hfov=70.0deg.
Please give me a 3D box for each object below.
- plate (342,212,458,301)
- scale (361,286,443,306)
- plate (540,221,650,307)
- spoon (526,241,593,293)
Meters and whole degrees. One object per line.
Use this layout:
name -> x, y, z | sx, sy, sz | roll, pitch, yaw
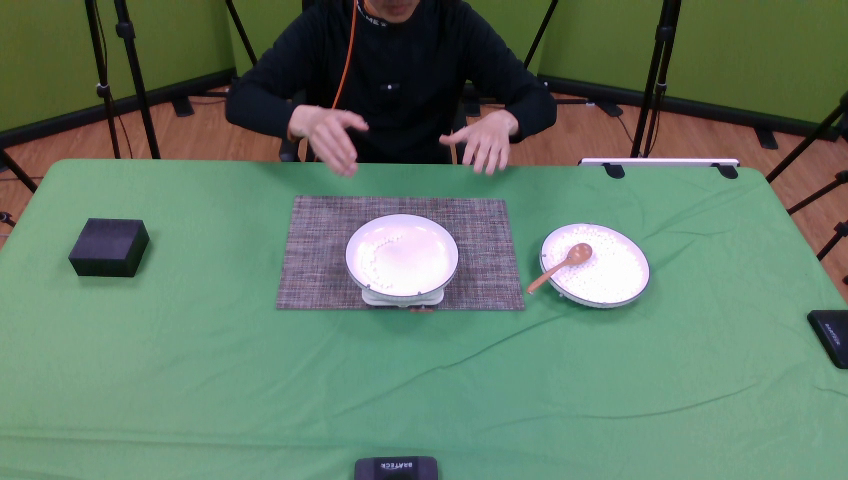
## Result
plate -> -0.043, 0.033, 1.105 | 0.208, 0.039, 0.206 | 2, 46, -2
scale -> -0.042, 0.040, 1.143 | 0.149, 0.032, 0.199 | 0, 46, -4
plate -> 0.325, 0.048, 1.164 | 0.209, 0.038, 0.208 | 2, 46, -2
spoon -> 0.252, 0.050, 1.134 | 0.194, 0.022, 0.041 | -27, 53, -35
